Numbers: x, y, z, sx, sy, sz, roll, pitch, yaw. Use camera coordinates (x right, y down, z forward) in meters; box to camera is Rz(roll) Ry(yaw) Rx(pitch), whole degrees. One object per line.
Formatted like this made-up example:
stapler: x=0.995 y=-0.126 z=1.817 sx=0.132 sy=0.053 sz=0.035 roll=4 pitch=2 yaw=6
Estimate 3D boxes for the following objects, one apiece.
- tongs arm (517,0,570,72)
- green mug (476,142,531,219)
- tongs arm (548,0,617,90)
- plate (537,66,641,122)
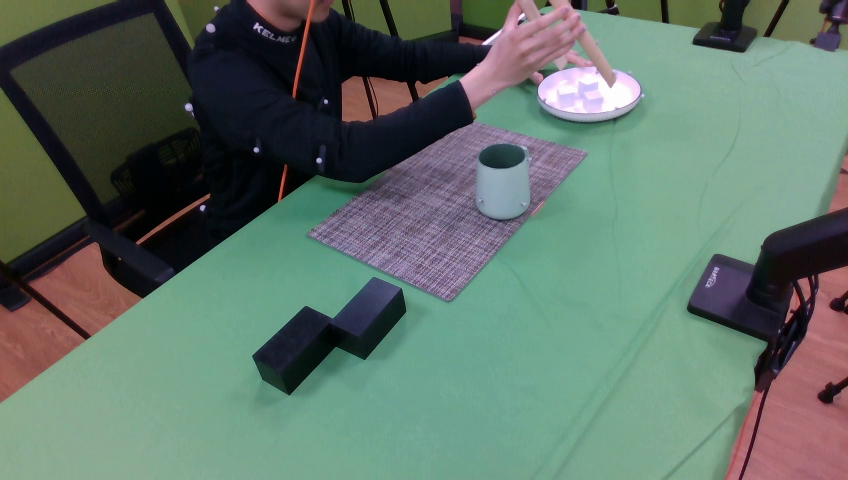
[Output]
tongs arm: x=0.195 y=-0.384 z=1.034 sx=0.028 sy=0.391 sz=0.028 roll=40 pitch=98 yaw=29
green mug: x=0.140 y=-0.106 z=1.003 sx=0.092 sy=0.105 sz=0.125 roll=21 pitch=48 yaw=30
tongs arm: x=0.237 y=-0.356 z=0.997 sx=0.050 sy=0.388 sz=0.026 roll=37 pitch=97 yaw=37
plate: x=0.338 y=-0.299 z=1.255 sx=0.209 sy=0.038 sz=0.208 roll=-4 pitch=41 yaw=4
